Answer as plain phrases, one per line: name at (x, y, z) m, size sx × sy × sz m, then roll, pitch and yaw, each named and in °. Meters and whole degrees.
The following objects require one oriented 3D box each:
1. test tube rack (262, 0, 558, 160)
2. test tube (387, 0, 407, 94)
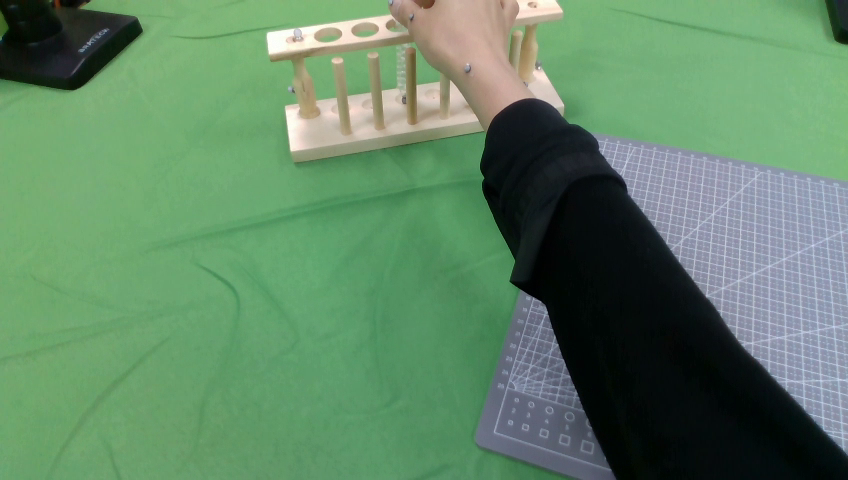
test tube rack at (-0.006, -0.141, 0.520) m, size 0.243 × 0.086 × 0.066 m, roll -11°, pitch 50°, yaw -7°
test tube at (-0.022, -0.185, 0.491) m, size 0.017 × 0.151 × 0.017 m, roll 1°, pitch 46°, yaw -1°
